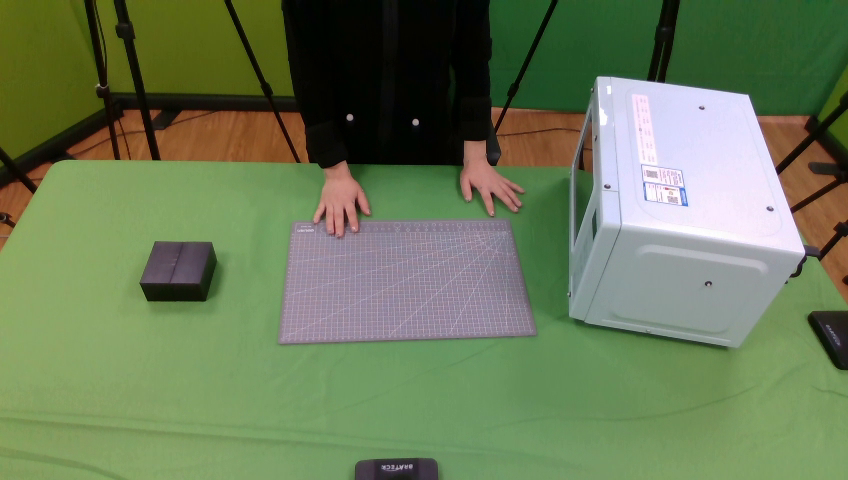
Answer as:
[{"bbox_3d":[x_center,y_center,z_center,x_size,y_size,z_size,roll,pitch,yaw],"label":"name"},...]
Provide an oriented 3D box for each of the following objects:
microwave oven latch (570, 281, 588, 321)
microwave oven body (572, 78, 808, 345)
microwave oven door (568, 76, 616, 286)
[{"bbox_3d":[0.276,0.105,1.082,0.030,0.029,0.079,9,45,6],"label":"microwave oven latch"},{"bbox_3d":[0.456,-0.063,1.125,0.326,0.261,0.439,8,45,5],"label":"microwave oven body"},{"bbox_3d":[0.319,-0.119,1.161,0.039,0.245,0.354,9,46,5],"label":"microwave oven door"}]
